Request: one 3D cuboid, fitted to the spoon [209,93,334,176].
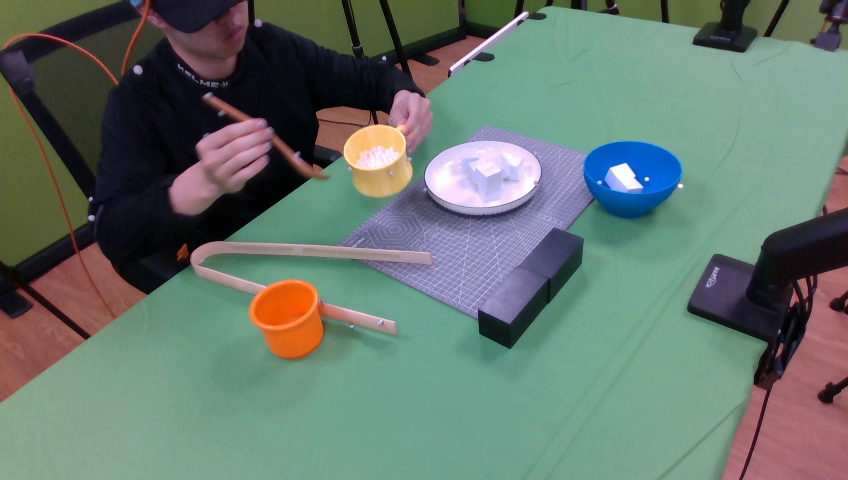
[{"bbox_3d":[-0.203,-0.141,0.821,0.021,0.195,0.041,-57,29,-8],"label":"spoon"}]

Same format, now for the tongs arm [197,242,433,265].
[{"bbox_3d":[-0.177,0.024,0.960,0.386,0.028,0.028,2,45,12],"label":"tongs arm"}]

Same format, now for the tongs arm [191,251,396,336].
[{"bbox_3d":[-0.204,0.074,0.902,0.382,0.026,0.051,11,44,22],"label":"tongs arm"}]

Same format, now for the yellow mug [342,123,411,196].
[{"bbox_3d":[-0.065,-0.140,0.975,0.099,0.064,0.131,30,64,27],"label":"yellow mug"}]

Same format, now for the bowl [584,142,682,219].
[{"bbox_3d":[0.333,-0.087,0.980,0.151,0.077,0.150,-4,40,3],"label":"bowl"}]

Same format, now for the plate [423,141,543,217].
[{"bbox_3d":[0.103,-0.103,1.059,0.207,0.039,0.206,-4,40,4],"label":"plate"}]
